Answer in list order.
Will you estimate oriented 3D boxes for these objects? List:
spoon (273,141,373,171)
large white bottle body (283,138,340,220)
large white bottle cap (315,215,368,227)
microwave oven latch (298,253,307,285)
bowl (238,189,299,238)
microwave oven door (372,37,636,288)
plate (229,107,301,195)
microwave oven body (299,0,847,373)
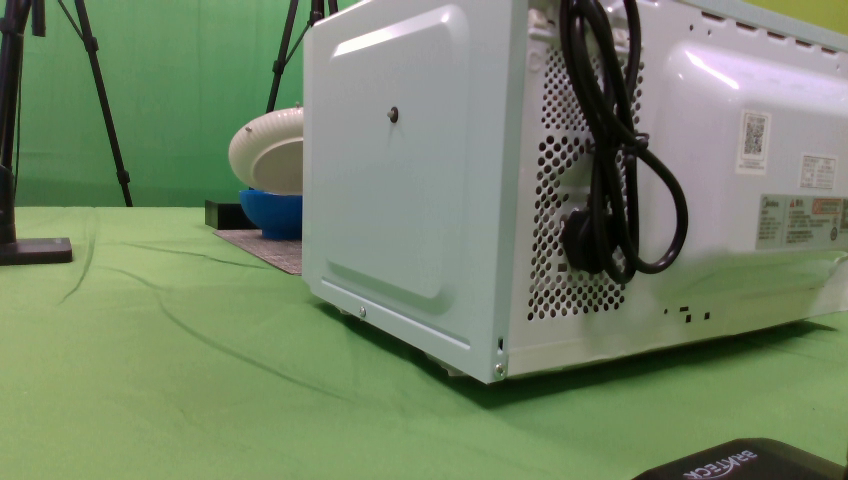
[{"bbox_3d":[-0.169,-0.149,1.047,0.194,0.021,0.041,-24,29,-30],"label":"spoon"},{"bbox_3d":[-0.265,-0.143,1.424,0.131,0.184,0.130,2,7,0],"label":"large white bottle body"},{"bbox_3d":[-0.177,-0.041,1.309,0.115,0.018,0.115,2,6,0],"label":"large white bottle cap"},{"bbox_3d":[-0.081,0.027,0.582,0.079,0.029,0.030,-1,7,-32],"label":"microwave oven latch"},{"bbox_3d":[-0.245,-0.046,1.053,0.151,0.077,0.151,3,7,0],"label":"bowl"},{"bbox_3d":[0.110,-0.080,0.686,0.358,0.243,0.039,-2,9,-33],"label":"microwave oven door"},{"bbox_3d":[-0.191,-0.124,0.934,0.209,0.038,0.209,-14,-25,-6],"label":"plate"},{"bbox_3d":[0.151,-0.055,0.542,0.444,0.260,0.324,-2,7,-33],"label":"microwave oven body"}]
